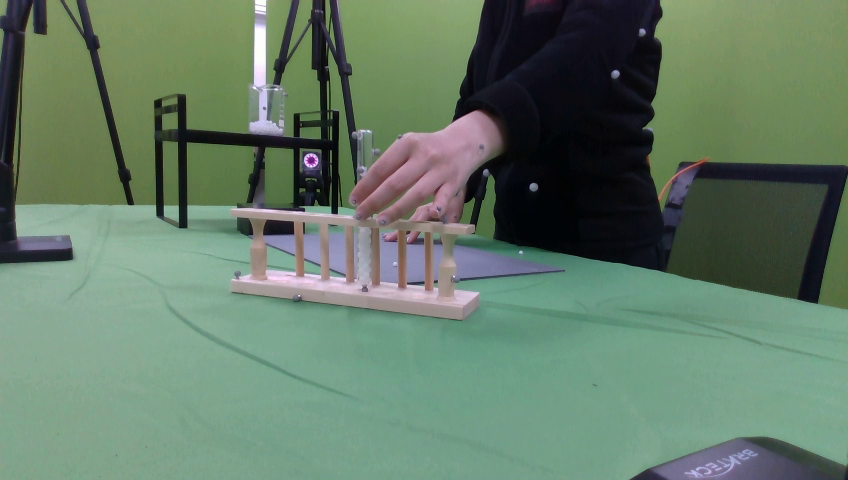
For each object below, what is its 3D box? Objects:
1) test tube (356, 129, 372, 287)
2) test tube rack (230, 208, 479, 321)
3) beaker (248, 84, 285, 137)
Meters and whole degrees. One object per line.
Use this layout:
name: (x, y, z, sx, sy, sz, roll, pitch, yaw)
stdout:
test tube: (-0.057, -0.029, 0.575, 0.017, 0.150, 0.017, 1, 6, 0)
test tube rack: (-0.069, 0.017, 0.598, 0.242, 0.085, 0.067, 5, 7, 18)
beaker: (-0.321, -0.261, 1.225, 0.074, 0.100, 0.084, 3, 8, 3)
